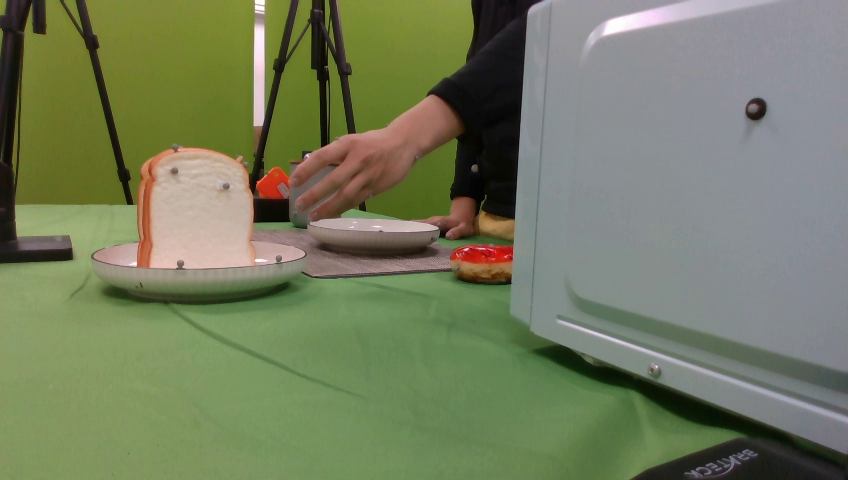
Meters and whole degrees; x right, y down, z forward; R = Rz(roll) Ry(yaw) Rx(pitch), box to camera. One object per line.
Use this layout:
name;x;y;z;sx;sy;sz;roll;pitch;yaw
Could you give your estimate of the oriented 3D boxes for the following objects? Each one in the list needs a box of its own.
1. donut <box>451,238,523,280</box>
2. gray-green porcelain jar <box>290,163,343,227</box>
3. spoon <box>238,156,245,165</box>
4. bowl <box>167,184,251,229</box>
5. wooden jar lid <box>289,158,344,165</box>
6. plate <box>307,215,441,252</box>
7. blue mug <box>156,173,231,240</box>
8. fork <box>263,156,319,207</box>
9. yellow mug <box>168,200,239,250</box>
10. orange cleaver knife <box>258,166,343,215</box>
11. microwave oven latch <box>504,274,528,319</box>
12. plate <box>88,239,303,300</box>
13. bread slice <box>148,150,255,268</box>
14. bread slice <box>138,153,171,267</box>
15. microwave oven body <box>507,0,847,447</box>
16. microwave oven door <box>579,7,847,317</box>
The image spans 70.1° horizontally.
donut;0.083;0.022;0.745;0.099;0.048;0.099;0;5;0
gray-green porcelain jar;-0.217;-0.091;1.221;0.106;0.126;0.106;2;7;0
spoon;-0.477;-0.145;1.492;0.041;0.022;0.193;-1;51;13
bowl;-0.408;-0.064;1.155;0.151;0.077;0.151;2;8;0
wooden jar lid;-0.215;-0.153;1.212;0.108;0.020;0.108;2;5;0
plate;-0.078;-0.011;0.954;0.209;0.038;0.209;2;8;0
blue mug;-0.381;-0.057;1.004;0.117;0.106;0.082;0;8;-12
fork;-0.331;-0.144;1.505;0.207;0.018;0.028;-42;-21;22
yellow mug;-0.319;-0.023;0.904;0.130;0.064;0.100;9;11;36
orange cleaver knife;-0.276;-0.090;1.369;0.212;0.077;0.012;33;-11;-34
microwave oven latch;0.100;0.041;0.470;0.079;0.029;0.030;-1;7;-27
plate;-0.233;0.029;0.636;0.208;0.039;0.207;2;7;0
bread slice;-0.230;-0.024;0.618;0.107;0.134;0.018;-8;10;-34
bread slice;-0.256;-0.029;0.660;0.105;0.131;0.019;-1;-1;-36
microwave oven body;0.331;-0.042;0.425;0.444;0.260;0.324;-2;8;-31
microwave oven door;0.294;-0.067;0.570;0.358;0.243;0.039;-3;9;-31
